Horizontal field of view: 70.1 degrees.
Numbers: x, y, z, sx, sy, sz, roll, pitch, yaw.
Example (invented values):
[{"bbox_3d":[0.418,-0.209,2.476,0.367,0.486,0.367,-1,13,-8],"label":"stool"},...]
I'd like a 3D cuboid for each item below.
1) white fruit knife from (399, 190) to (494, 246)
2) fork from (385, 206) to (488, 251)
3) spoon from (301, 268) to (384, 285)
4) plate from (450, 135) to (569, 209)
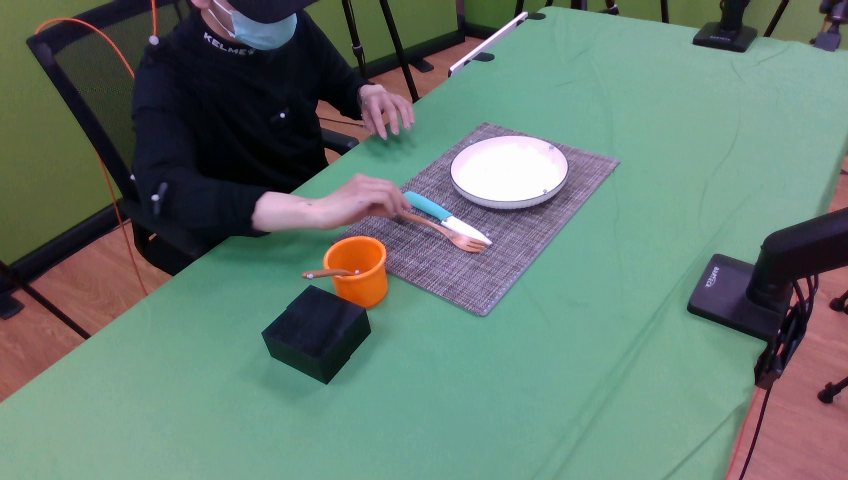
[{"bbox_3d":[0.036,-0.038,1.009,0.205,0.016,0.027,32,84,34],"label":"white fruit knife"},{"bbox_3d":[0.015,-0.021,0.987,0.206,0.019,0.028,24,64,30],"label":"fork"},{"bbox_3d":[-0.111,0.048,0.831,0.041,0.195,0.021,17,90,24],"label":"spoon"},{"bbox_3d":[0.149,-0.117,1.066,0.209,0.038,0.208,-3,41,3],"label":"plate"}]
